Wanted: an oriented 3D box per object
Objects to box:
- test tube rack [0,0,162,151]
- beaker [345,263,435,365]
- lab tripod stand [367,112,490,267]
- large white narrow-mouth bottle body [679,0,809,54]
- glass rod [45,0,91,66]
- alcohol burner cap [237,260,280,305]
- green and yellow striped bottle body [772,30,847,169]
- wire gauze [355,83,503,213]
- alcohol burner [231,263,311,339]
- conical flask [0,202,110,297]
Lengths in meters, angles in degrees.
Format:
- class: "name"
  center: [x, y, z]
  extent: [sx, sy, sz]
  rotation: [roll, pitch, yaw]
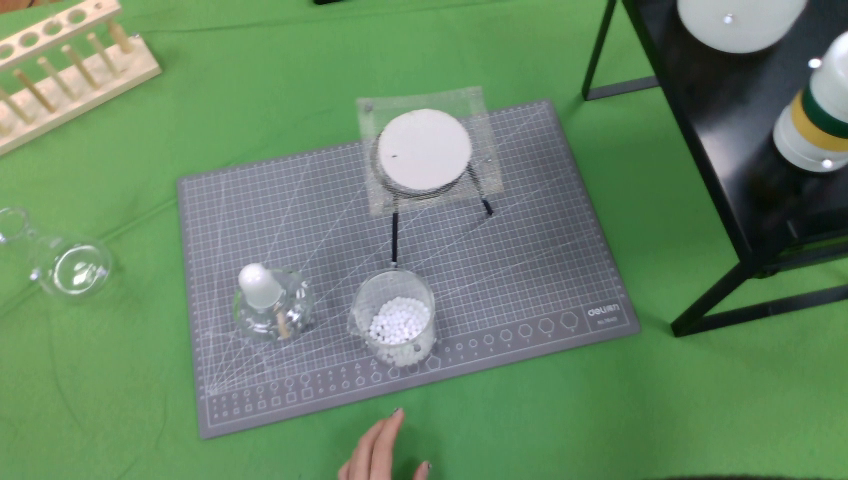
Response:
- class: "test tube rack"
  center: [-0.450, -0.195, 0.714]
  extent: [0.242, 0.086, 0.066]
  rotation: [-32, 70, -11]
- class: "beaker"
  center: [-0.029, 0.077, 0.577]
  extent: [0.084, 0.101, 0.073]
  rotation: [-25, 67, -7]
- class: "lab tripod stand"
  center: [-0.001, -0.056, 0.614]
  extent: [0.148, 0.132, 0.147]
  rotation: [0, 65, 1]
- class: "large white narrow-mouth bottle body"
  center: [0.274, -0.243, 0.460]
  extent: [0.102, 0.196, 0.101]
  rotation: [0, 65, 1]
- class: "glass rod"
  center: [-0.414, -0.263, 0.669]
  extent: [0.008, 0.201, 0.008]
  rotation: [1, 64, -2]
- class: "alcohol burner cap"
  center: [-0.153, 0.036, 0.550]
  extent: [0.034, 0.048, 0.033]
  rotation: [0, 60, 0]
- class: "green and yellow striped bottle body"
  center: [0.310, -0.107, 0.440]
  extent: [0.063, 0.120, 0.062]
  rotation: [-2, 67, 5]
- class: "wire gauze"
  center: [0.003, -0.089, 0.554]
  extent: [0.121, 0.011, 0.124]
  rotation: [-7, 67, -3]
- class: "alcohol burner"
  center: [-0.151, 0.052, 0.583]
  extent: [0.078, 0.120, 0.077]
  rotation: [0, 65, 0]
- class: "conical flask"
  center: [-0.380, 0.005, 0.607]
  extent: [0.075, 0.123, 0.075]
  rotation: [-1, 66, 2]
